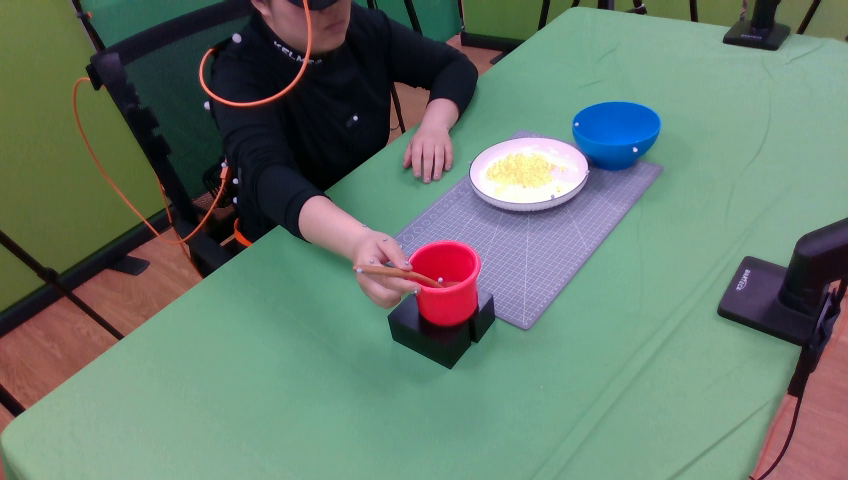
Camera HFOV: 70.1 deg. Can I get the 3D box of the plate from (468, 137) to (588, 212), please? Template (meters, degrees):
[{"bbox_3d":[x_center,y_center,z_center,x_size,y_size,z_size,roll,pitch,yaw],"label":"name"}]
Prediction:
[{"bbox_3d":[0.182,-0.112,1.064,0.207,0.039,0.206,-5,40,5],"label":"plate"}]

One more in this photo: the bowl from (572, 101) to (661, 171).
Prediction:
[{"bbox_3d":[0.340,-0.177,1.079,0.151,0.077,0.150,-5,40,5],"label":"bowl"}]

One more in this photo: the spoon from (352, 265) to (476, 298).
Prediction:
[{"bbox_3d":[-0.009,0.048,0.753,0.195,0.021,0.041,18,16,-40],"label":"spoon"}]
